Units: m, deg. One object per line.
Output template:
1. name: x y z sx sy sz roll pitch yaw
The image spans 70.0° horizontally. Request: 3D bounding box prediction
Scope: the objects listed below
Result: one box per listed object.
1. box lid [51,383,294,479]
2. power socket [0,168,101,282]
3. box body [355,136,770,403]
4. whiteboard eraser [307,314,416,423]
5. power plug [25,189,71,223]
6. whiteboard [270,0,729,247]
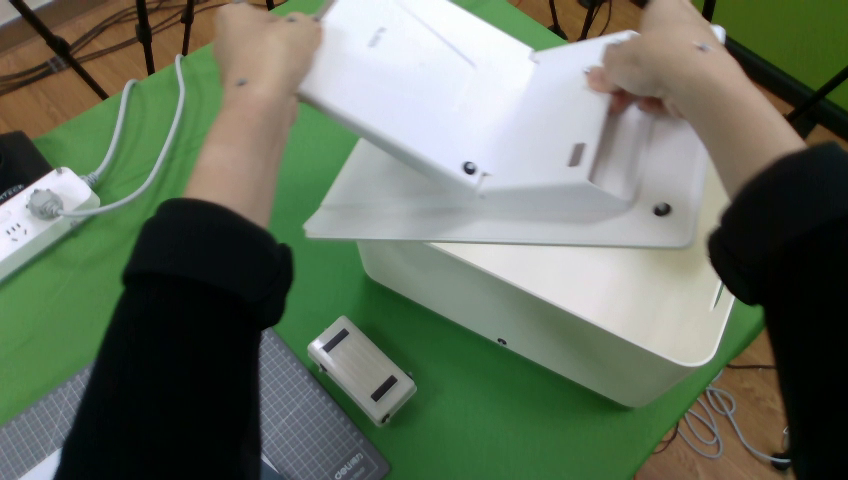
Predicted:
1. box lid: -0.205 0.319 0.529 0.369 0.015 0.262 32 63 16
2. power socket: -0.486 -0.002 0.706 0.072 0.033 0.226 38 65 19
3. box body: 0.129 -0.019 0.652 0.362 0.161 0.253 25 61 13
4. whiteboard eraser: -0.066 0.132 0.628 0.112 0.042 0.055 40 64 21
5. power plug: -0.430 -0.029 0.697 0.035 0.053 0.072 -34 71 -20
6. whiteboard: 0.039 -0.124 0.438 0.304 0.145 0.216 2 50 31
